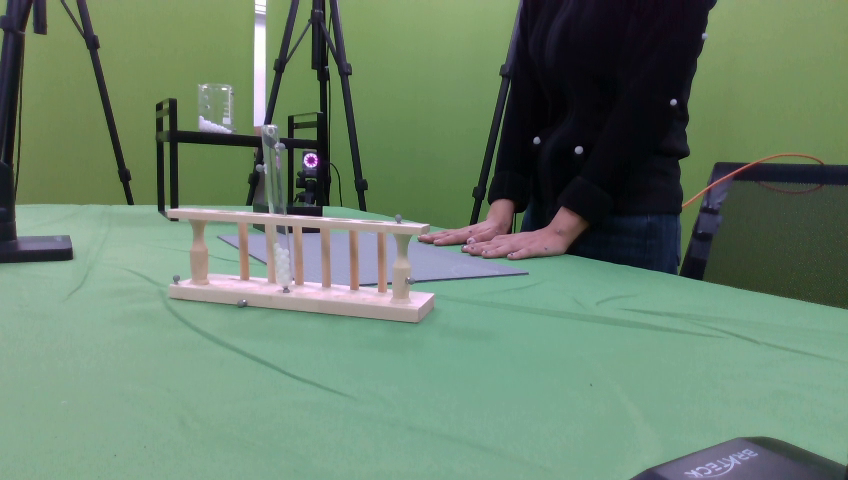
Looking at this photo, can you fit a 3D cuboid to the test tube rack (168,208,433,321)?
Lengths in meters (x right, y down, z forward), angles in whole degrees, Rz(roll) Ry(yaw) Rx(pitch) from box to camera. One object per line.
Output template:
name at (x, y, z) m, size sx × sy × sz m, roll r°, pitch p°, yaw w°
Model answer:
test tube rack at (-0.115, 0.017, 0.574) m, size 0.242 × 0.085 × 0.067 m, roll 4°, pitch 8°, yaw 13°

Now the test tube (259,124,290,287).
test tube at (-0.137, -0.031, 0.556) m, size 0.017 × 0.150 × 0.017 m, roll -4°, pitch 7°, yaw 1°

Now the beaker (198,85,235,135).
beaker at (-0.439, -0.273, 1.275) m, size 0.074 × 0.100 × 0.084 m, roll 5°, pitch 8°, yaw 19°
